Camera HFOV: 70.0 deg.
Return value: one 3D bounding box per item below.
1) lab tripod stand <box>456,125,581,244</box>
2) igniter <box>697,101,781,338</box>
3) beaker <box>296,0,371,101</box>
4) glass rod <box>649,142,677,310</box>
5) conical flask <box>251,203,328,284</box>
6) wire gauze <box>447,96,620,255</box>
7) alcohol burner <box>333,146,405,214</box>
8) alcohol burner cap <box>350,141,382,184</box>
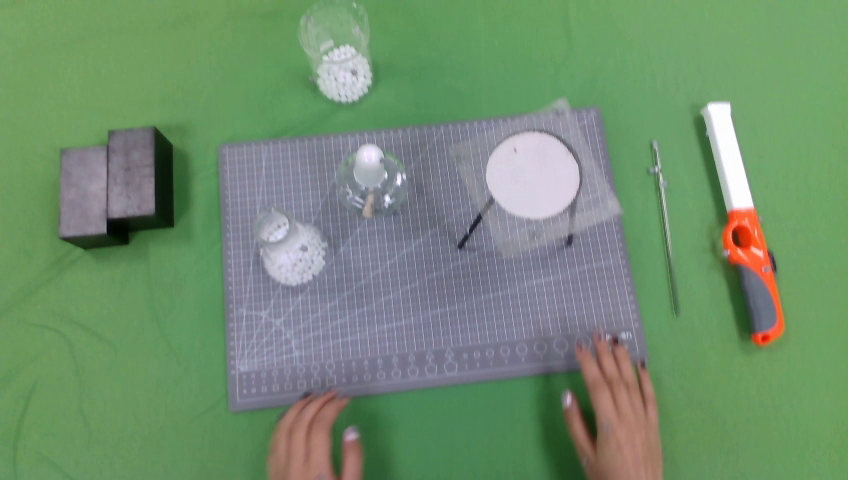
[{"bbox_3d":[0.099,-0.048,0.627,0.148,0.132,0.147,0,79,-1],"label":"lab tripod stand"},{"bbox_3d":[0.355,-0.028,0.686,0.057,0.025,0.275,-4,77,-13],"label":"igniter"},{"bbox_3d":[-0.095,-0.209,0.681,0.074,0.100,0.084,42,79,8],"label":"beaker"},{"bbox_3d":[0.272,-0.019,0.691,0.008,0.008,0.198,-2,77,-2],"label":"glass rod"},{"bbox_3d":[-0.142,-0.001,0.617,0.075,0.122,0.075,0,76,-1],"label":"conical flask"},{"bbox_3d":[0.101,-0.061,0.561,0.125,0.011,0.121,-22,79,-6],"label":"wire gauze"},{"bbox_3d":[-0.058,-0.070,0.639,0.078,0.119,0.077,1,75,-3],"label":"alcohol burner"},{"bbox_3d":[-0.057,-0.080,0.604,0.034,0.048,0.033,3,69,-8],"label":"alcohol burner cap"}]
